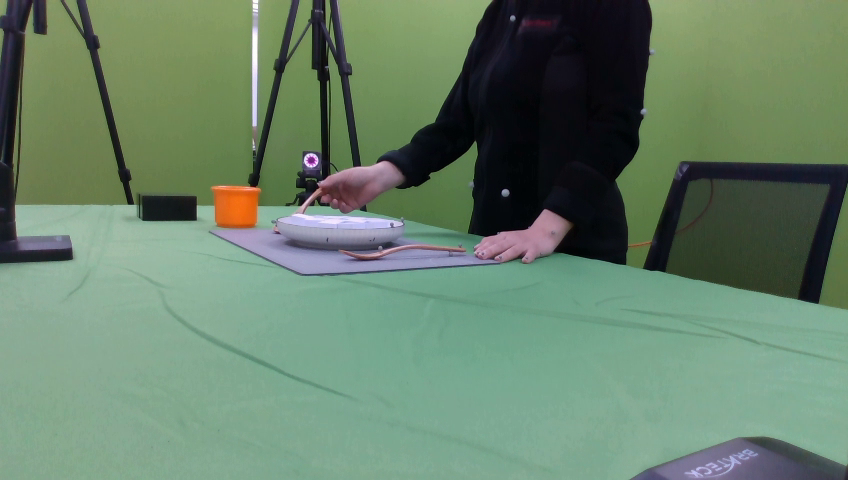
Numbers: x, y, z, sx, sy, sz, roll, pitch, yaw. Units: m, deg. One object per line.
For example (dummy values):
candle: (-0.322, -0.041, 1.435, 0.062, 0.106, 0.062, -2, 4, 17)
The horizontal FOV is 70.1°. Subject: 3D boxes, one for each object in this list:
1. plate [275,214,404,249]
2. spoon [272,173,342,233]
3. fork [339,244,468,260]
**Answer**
plate: (-0.135, -0.013, 0.982, 0.208, 0.039, 0.207, 3, 7, 0)
spoon: (-0.211, -0.072, 1.124, 0.041, 0.022, 0.194, 15, 50, 31)
fork: (-0.024, 0.016, 0.865, 0.208, 0.018, 0.028, -4, 4, -31)
